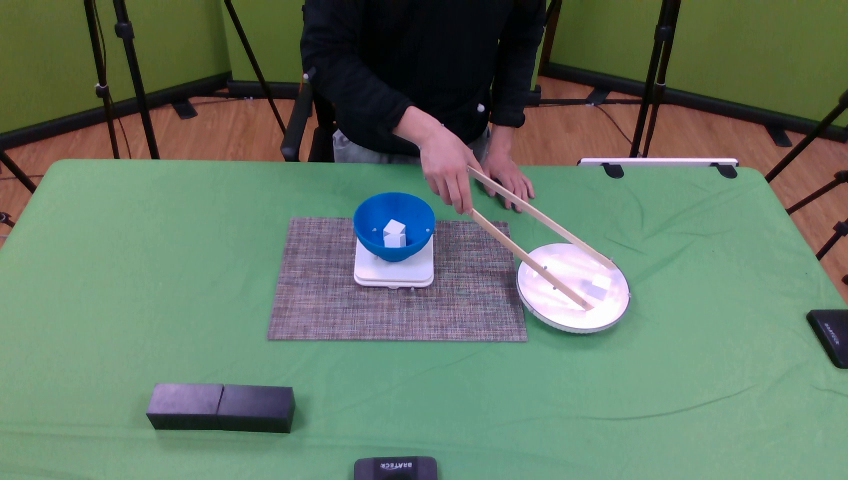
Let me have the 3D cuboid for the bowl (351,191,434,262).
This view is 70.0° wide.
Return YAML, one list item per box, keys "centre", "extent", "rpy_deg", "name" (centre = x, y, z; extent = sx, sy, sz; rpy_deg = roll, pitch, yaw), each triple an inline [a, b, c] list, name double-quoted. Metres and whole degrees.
- centre: [-0.057, -0.013, 1.119]
  extent: [0.151, 0.077, 0.150]
  rpy_deg: [2, 46, -1]
  name: "bowl"

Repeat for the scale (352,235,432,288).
- centre: [-0.060, 0.010, 1.171]
  extent: [0.149, 0.032, 0.199]
  rpy_deg: [2, 46, -3]
  name: "scale"

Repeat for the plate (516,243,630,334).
- centre: [0.272, 0.092, 1.120]
  extent: [0.208, 0.039, 0.206]
  rpy_deg: [2, 46, -2]
  name: "plate"

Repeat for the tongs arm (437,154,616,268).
- centre: [0.189, -0.052, 1.110]
  extent: [0.388, 0.028, 0.028]
  rpy_deg: [32, 71, -6]
  name: "tongs arm"

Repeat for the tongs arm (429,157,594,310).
- centre: [0.159, -0.009, 1.086]
  extent: [0.385, 0.026, 0.050]
  rpy_deg: [37, 67, -4]
  name: "tongs arm"
